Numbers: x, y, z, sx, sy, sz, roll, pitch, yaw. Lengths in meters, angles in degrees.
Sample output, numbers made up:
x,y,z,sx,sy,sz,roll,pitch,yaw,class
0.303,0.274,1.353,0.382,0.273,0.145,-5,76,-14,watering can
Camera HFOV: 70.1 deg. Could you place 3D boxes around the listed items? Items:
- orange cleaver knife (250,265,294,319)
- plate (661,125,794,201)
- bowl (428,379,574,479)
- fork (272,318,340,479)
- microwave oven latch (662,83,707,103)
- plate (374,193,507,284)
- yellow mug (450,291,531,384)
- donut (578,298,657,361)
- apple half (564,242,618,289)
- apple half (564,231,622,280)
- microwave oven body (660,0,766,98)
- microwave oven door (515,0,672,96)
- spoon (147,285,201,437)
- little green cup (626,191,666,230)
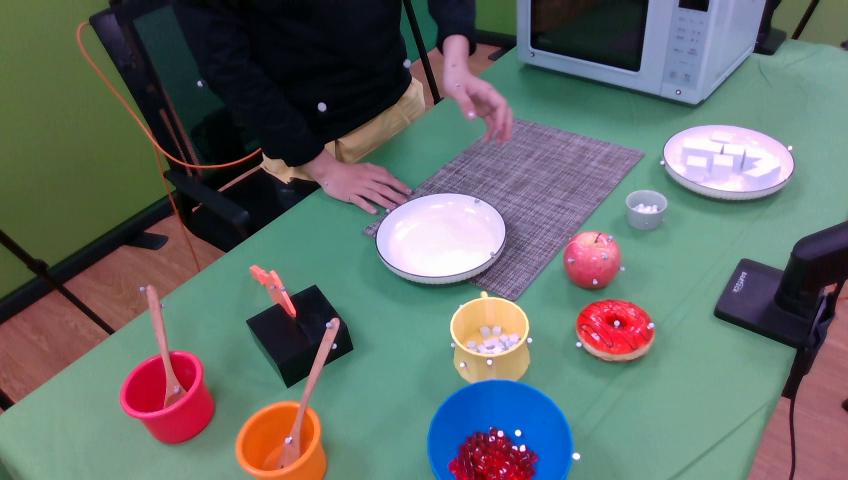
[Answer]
x,y,z,sx,sy,sz,roll,pitch,yaw,class
-0.221,0.073,0.876,0.012,0.077,0.210,-24,12,-22,orange cleaver knife
0.513,-0.128,1.035,0.207,0.039,0.206,-4,40,4,plate
0.082,0.233,0.644,0.151,0.077,0.150,-4,40,4,bowl
-0.131,0.186,0.676,0.028,0.019,0.207,18,90,28,fork
0.517,-0.296,1.204,0.078,0.029,0.030,27,52,35,microwave oven latch
0.027,0.000,0.952,0.209,0.038,0.208,-4,40,4,plate
0.085,0.120,0.786,0.100,0.064,0.130,-7,39,1,yellow mug
0.250,0.115,0.786,0.099,0.048,0.098,-5,37,4,donut
0.229,0.044,0.848,0.081,0.081,0.033,16,41,26,apple half
0.248,0.021,0.874,0.080,0.075,0.053,13,40,28,apple half
0.472,-0.513,1.317,0.438,0.261,0.327,26,51,34,microwave oven body
0.344,-0.455,1.259,0.353,0.245,0.039,26,51,33,microwave oven door
-0.318,0.148,0.754,0.042,0.021,0.193,-15,85,-10,spoon
0.352,-0.046,0.963,0.061,0.039,0.061,-4,40,4,little green cup
